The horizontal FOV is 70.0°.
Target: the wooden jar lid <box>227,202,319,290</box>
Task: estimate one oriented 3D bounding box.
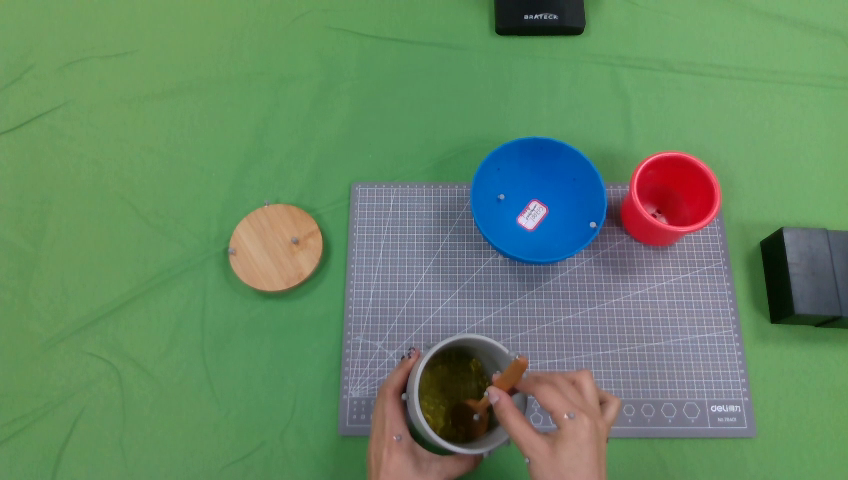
[{"bbox_3d":[-0.177,0.008,0.715,0.108,0.021,0.107,0,71,1],"label":"wooden jar lid"}]

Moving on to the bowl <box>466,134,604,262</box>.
[{"bbox_3d":[0.122,-0.037,0.695,0.151,0.077,0.150,0,71,1],"label":"bowl"}]

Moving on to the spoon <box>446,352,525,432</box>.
[{"bbox_3d":[0.055,0.141,0.549,0.041,0.195,0.021,41,62,11],"label":"spoon"}]

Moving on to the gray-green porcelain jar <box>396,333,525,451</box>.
[{"bbox_3d":[0.029,0.151,0.600,0.106,0.127,0.105,3,74,-10],"label":"gray-green porcelain jar"}]
